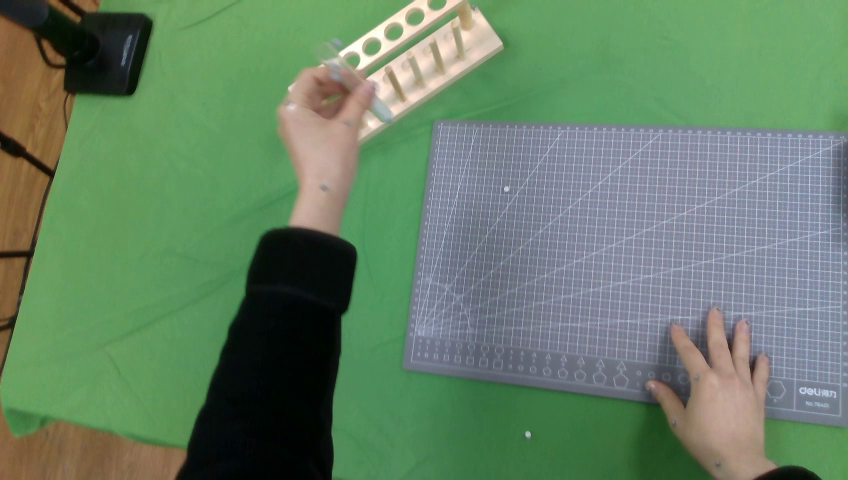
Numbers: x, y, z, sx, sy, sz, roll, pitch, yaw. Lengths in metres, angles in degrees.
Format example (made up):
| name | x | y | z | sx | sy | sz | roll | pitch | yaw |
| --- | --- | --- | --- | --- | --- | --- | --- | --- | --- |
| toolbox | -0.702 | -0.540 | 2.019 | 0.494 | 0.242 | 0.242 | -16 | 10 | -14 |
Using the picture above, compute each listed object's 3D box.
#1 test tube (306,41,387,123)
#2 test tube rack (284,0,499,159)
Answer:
| name | x | y | z | sx | sy | sz | roll | pitch | yaw |
| --- | --- | --- | --- | --- | --- | --- | --- | --- | --- |
| test tube | -0.064 | -0.135 | 0.537 | 0.017 | 0.151 | 0.017 | -3 | 80 | 16 |
| test tube rack | -0.035 | -0.200 | 0.715 | 0.242 | 0.086 | 0.066 | -33 | 73 | 4 |
